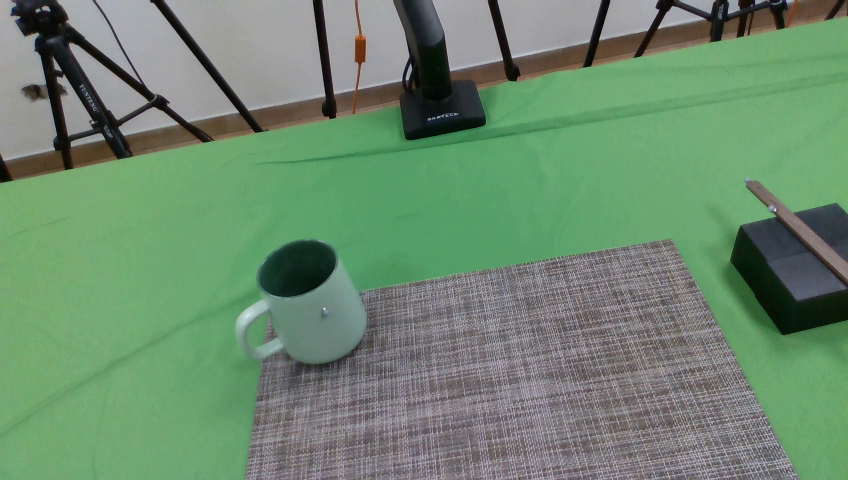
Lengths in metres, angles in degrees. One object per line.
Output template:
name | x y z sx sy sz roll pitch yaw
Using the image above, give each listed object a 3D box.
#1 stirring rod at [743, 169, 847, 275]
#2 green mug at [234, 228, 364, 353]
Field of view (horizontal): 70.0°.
stirring rod | 0.359 -0.015 0.571 0.014 0.006 0.174 -16 45 -5
green mug | -0.126 0.061 0.599 0.125 0.106 0.091 -34 49 -20
